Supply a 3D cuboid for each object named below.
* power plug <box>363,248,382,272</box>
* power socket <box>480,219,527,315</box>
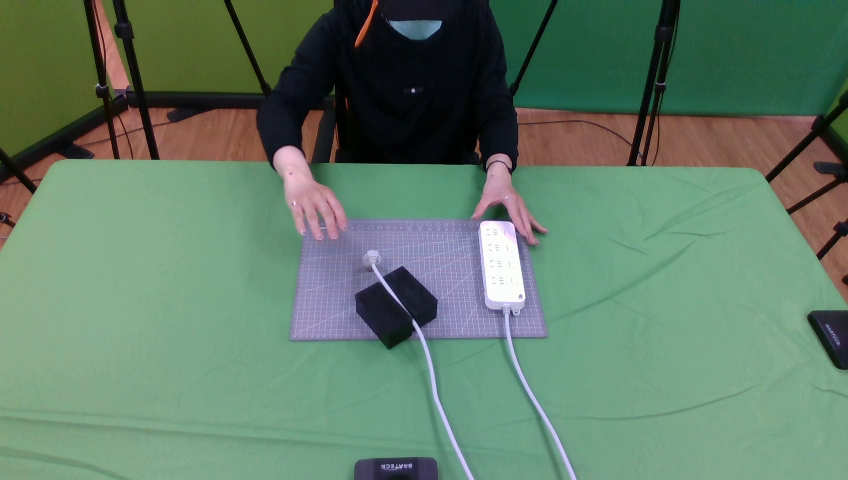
[{"bbox_3d":[-0.100,0.044,1.115,0.035,0.053,0.072,14,42,6],"label":"power plug"},{"bbox_3d":[0.148,0.042,1.151,0.072,0.033,0.225,1,47,-1],"label":"power socket"}]
